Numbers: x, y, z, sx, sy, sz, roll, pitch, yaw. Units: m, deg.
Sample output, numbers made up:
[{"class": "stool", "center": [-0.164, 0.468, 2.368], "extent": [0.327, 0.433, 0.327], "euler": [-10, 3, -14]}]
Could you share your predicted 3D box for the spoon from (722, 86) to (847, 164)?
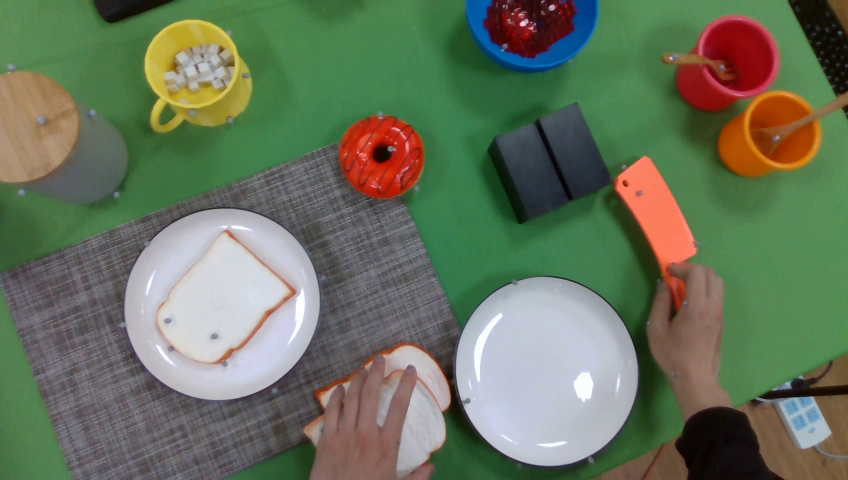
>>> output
[{"class": "spoon", "center": [0.432, -0.143, 0.680], "extent": [0.022, 0.193, 0.041], "euler": [-17, 79, -50]}]

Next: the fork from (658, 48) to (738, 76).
[{"class": "fork", "center": [0.310, -0.202, 0.679], "extent": [0.208, 0.018, 0.028], "euler": [-11, 83, -47]}]

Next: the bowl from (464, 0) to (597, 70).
[{"class": "bowl", "center": [0.116, -0.261, 0.706], "extent": [0.151, 0.077, 0.151], "euler": [0, 84, -4]}]

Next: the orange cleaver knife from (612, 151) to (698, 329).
[{"class": "orange cleaver knife", "center": [0.282, -0.002, 0.706], "extent": [0.077, 0.012, 0.211], "euler": [-20, 85, -23]}]

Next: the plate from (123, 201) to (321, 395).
[{"class": "plate", "center": [-0.216, 0.063, 0.665], "extent": [0.208, 0.039, 0.207], "euler": [0, 84, -4]}]

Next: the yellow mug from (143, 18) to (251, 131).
[{"class": "yellow mug", "center": [-0.261, -0.175, 0.678], "extent": [0.100, 0.064, 0.130], "euler": [35, 83, 1]}]

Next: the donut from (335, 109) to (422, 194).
[{"class": "donut", "center": [-0.051, -0.101, 0.691], "extent": [0.099, 0.048, 0.099], "euler": [1, 84, -4]}]

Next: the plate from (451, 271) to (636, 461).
[{"class": "plate", "center": [0.133, 0.139, 0.685], "extent": [0.209, 0.038, 0.208], "euler": [0, 84, -3]}]

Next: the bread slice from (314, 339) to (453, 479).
[{"class": "bread slice", "center": [-0.031, 0.168, 0.638], "extent": [0.134, 0.018, 0.106], "euler": [-29, 83, -33]}]

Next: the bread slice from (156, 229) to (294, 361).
[{"class": "bread slice", "center": [-0.224, 0.068, 0.666], "extent": [0.105, 0.019, 0.131], "euler": [41, 81, 2]}]

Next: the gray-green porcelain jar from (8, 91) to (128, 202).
[{"class": "gray-green porcelain jar", "center": [-0.381, -0.098, 0.631], "extent": [0.106, 0.126, 0.105], "euler": [0, 83, -4]}]

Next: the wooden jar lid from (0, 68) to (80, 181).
[{"class": "wooden jar lid", "center": [-0.377, -0.106, 0.569], "extent": [0.108, 0.021, 0.108], "euler": [0, 82, -3]}]
